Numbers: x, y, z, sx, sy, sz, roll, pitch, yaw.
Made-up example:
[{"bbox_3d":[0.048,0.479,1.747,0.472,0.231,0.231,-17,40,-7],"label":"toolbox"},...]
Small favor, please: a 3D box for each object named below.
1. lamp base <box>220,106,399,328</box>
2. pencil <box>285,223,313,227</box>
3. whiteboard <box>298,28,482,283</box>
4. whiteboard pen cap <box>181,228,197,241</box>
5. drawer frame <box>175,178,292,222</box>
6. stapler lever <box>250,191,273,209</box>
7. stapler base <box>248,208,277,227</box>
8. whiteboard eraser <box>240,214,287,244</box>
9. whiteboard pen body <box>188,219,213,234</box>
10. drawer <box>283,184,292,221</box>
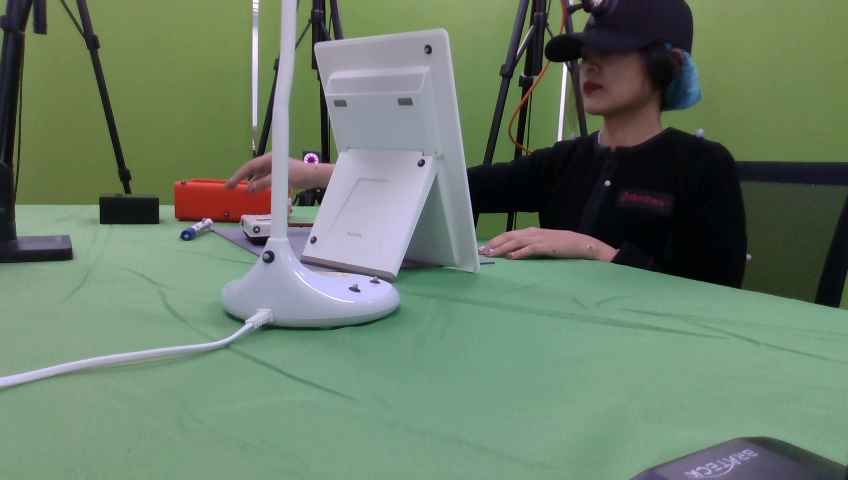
[{"bbox_3d":[-0.102,-0.023,0.531,0.160,0.180,0.179,4,10,10],"label":"lamp base"},{"bbox_3d":[-0.234,-0.030,1.198,0.195,0.012,0.012,0,8,-20],"label":"pencil"},{"bbox_3d":[-0.075,-0.082,0.741,0.216,0.305,0.144,9,30,38],"label":"whiteboard"},{"bbox_3d":[-0.375,-0.010,0.968,0.018,0.018,0.033,2,10,-5],"label":"whiteboard pen cap"},{"bbox_3d":[-0.402,-0.087,1.311,0.214,0.082,0.201,1,8,-9],"label":"drawer frame"},{"bbox_3d":[-0.351,-0.086,1.306,0.027,0.040,0.118,1,5,-3],"label":"stapler lever"},{"bbox_3d":[-0.350,-0.053,1.310,0.041,0.024,0.130,1,13,-4],"label":"stapler base"},{"bbox_3d":[-0.256,-0.018,0.958,0.056,0.042,0.112,0,8,-25],"label":"whiteboard eraser"},{"bbox_3d":[-0.382,-0.020,1.026,0.017,0.017,0.140,2,9,-6],"label":"whiteboard pen body"},{"bbox_3d":[-0.397,-0.086,1.314,0.212,0.073,0.194,1,8,-9],"label":"drawer"}]
